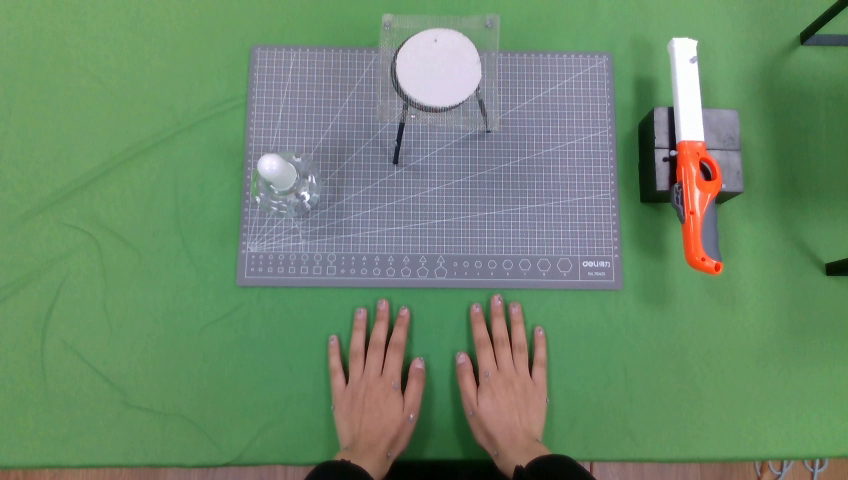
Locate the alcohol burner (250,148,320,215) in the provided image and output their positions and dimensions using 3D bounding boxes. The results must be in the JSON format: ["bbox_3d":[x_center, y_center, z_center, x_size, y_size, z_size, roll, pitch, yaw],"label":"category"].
[{"bbox_3d":[-0.156,-0.068,0.664,0.078,0.119,0.077,0,81,0],"label":"alcohol burner"}]

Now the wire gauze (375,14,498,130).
[{"bbox_3d":[0.014,-0.172,0.610,0.125,0.011,0.121,3,79,0],"label":"wire gauze"}]

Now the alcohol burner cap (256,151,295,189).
[{"bbox_3d":[-0.157,-0.075,0.629,0.034,0.048,0.033,-1,79,6],"label":"alcohol burner cap"}]

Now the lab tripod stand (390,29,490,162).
[{"bbox_3d":[0.007,-0.164,0.677,0.148,0.132,0.147,0,79,0],"label":"lab tripod stand"}]

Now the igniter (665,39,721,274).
[{"bbox_3d":[0.301,-0.098,0.683,0.057,0.025,0.275,1,77,-4],"label":"igniter"}]
